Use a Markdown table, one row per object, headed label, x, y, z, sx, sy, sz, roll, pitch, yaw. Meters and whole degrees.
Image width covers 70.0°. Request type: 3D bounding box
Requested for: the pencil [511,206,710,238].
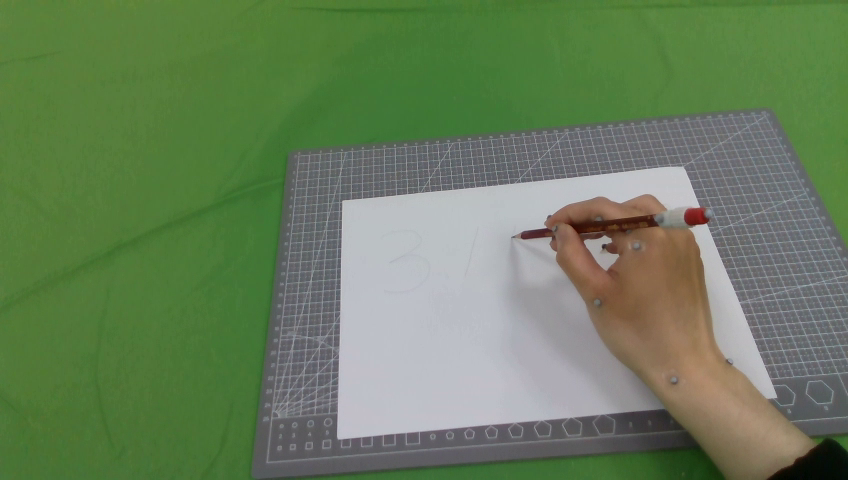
| label | x | y | z | sx | sy | sz | roll | pitch | yaw |
| --- | --- | --- | --- | --- | --- | --- | --- | --- | --- |
| pencil | 0.109 | -0.009 | 0.404 | 0.012 | 0.193 | 0.012 | 1 | 87 | -23 |
